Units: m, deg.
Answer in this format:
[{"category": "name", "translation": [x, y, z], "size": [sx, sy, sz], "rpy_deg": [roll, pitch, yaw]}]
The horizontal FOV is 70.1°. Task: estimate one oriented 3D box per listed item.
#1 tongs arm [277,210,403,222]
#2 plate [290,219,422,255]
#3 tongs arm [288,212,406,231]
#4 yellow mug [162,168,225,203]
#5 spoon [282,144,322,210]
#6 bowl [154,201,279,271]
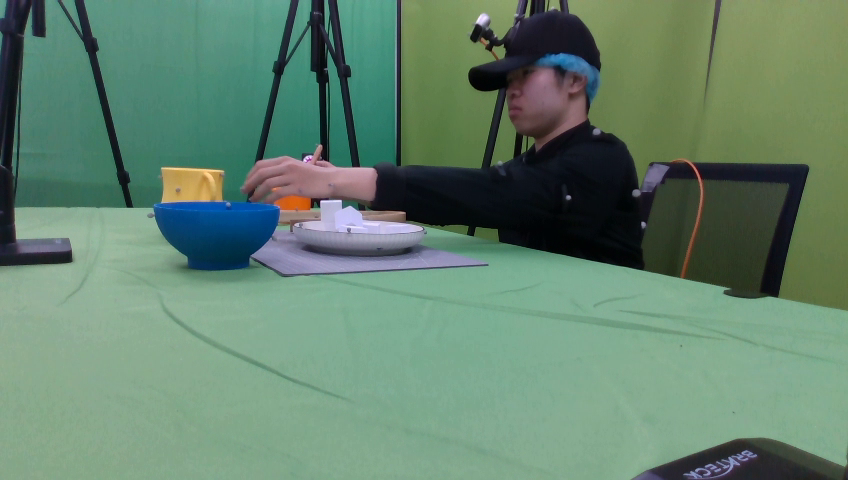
[{"category": "tongs arm", "translation": [-0.206, -0.052, 1.332], "size": [0.387, 0.026, 0.050], "rpy_deg": [-2, 8, -44]}, {"category": "plate", "translation": [-0.107, -0.005, 0.963], "size": [0.208, 0.039, 0.207], "rpy_deg": [2, 7, 0]}, {"category": "tongs arm", "translation": [-0.146, -0.041, 1.280], "size": [0.028, 0.028, 0.389], "rpy_deg": [3, 5, 33]}, {"category": "yellow mug", "translation": [-0.383, -0.087, 1.026], "size": [0.130, 0.064, 0.100], "rpy_deg": [11, 11, 44]}, {"category": "spoon", "translation": [-0.266, -0.131, 1.344], "size": [0.041, 0.193, 0.022], "rpy_deg": [15, -15, 20]}, {"category": "bowl", "translation": [-0.263, -0.005, 0.773], "size": [0.151, 0.077, 0.151], "rpy_deg": [3, 8, 0]}]
